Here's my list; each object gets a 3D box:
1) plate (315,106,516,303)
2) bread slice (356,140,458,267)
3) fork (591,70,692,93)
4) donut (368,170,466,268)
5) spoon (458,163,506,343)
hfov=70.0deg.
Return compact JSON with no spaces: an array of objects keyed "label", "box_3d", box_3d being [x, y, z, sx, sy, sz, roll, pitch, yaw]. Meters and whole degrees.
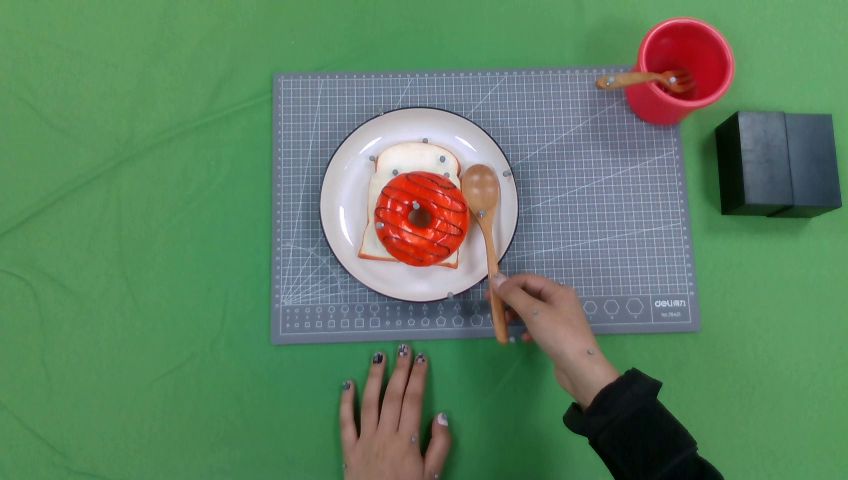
[{"label":"plate","box_3d":[-0.008,-0.036,0.637,0.209,0.038,0.208,0,80,-2]},{"label":"bread slice","box_3d":[-0.015,-0.041,0.640,0.105,0.019,0.131,5,81,-2]},{"label":"fork","box_3d":[0.222,-0.160,0.608,0.208,0.018,0.028,-15,77,-46]},{"label":"donut","box_3d":[-0.007,-0.022,0.608,0.099,0.048,0.099,0,84,-4]},{"label":"spoon","box_3d":[0.063,0.009,0.614,0.042,0.022,0.192,-2,65,-7]}]
